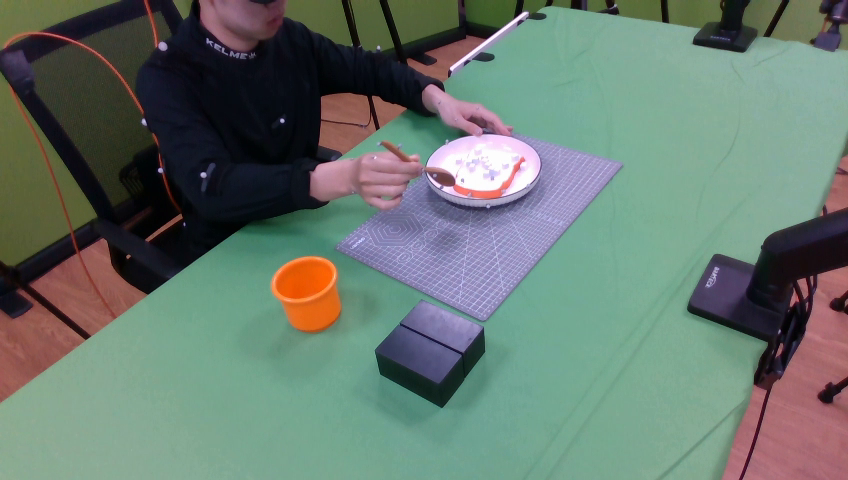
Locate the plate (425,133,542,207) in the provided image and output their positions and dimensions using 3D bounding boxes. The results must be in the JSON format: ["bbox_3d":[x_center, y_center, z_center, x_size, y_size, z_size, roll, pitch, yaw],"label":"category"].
[{"bbox_3d":[0.106,-0.121,1.079,0.209,0.038,0.208,-4,41,4],"label":"plate"}]

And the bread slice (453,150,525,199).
[{"bbox_3d":[0.112,-0.119,1.079,0.104,0.019,0.131,11,43,21],"label":"bread slice"}]

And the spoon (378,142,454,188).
[{"bbox_3d":[-0.009,-0.111,0.909,0.041,0.195,0.021,3,83,31],"label":"spoon"}]
